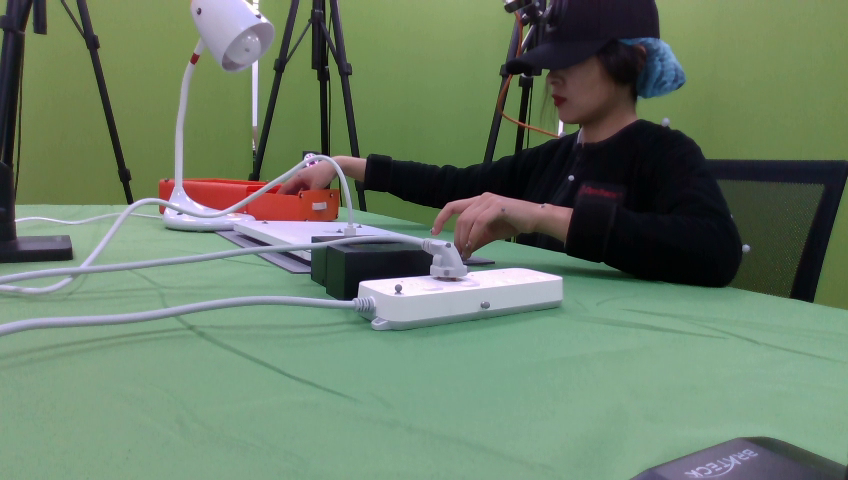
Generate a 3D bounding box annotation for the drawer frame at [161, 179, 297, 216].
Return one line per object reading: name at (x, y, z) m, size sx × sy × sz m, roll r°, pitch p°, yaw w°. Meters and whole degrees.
drawer frame at (-0.421, -0.089, 1.329) m, size 0.213 × 0.082 × 0.202 m, roll 4°, pitch 8°, yaw 16°

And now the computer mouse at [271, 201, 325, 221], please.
computer mouse at (-0.271, -0.063, 1.307) m, size 0.062 × 0.041 × 0.118 m, roll 5°, pitch 4°, yaw 30°

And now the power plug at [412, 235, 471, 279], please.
power plug at (0.017, 0.023, 0.588) m, size 0.035 × 0.052 × 0.072 m, roll -1°, pitch 7°, yaw -24°

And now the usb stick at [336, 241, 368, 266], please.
usb stick at (-0.093, 0.016, 0.748) m, size 0.021 × 0.027 × 0.059 m, roll -4°, pitch 5°, yaw -36°

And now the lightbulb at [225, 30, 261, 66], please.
lightbulb at (-0.317, -0.335, 1.001) m, size 0.107 × 0.059 × 0.059 m, roll 47°, pitch 16°, yaw 6°

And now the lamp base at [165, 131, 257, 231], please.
lamp base at (-0.407, -0.112, 1.119) m, size 0.179 × 0.180 × 0.161 m, roll -1°, pitch 7°, yaw 7°

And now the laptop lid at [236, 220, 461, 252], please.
laptop lid at (-0.133, -0.010, 0.949) m, size 0.243 × 0.013 × 0.355 m, roll 0°, pitch 7°, yaw -32°

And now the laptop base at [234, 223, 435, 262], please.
laptop base at (-0.135, 0.002, 0.949) m, size 0.237 × 0.023 × 0.352 m, roll 2°, pitch 6°, yaw -33°

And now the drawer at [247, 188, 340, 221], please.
drawer at (-0.314, -0.079, 1.301) m, size 0.211 × 0.073 × 0.195 m, roll 4°, pitch 8°, yaw 15°

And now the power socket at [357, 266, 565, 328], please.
power socket at (0.041, 0.049, 0.572) m, size 0.228 × 0.032 × 0.072 m, roll -3°, pitch 8°, yaw -35°

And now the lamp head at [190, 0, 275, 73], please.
lamp head at (-0.331, -0.355, 1.008) m, size 0.123 × 0.112 × 0.112 m, roll 43°, pitch 15°, yaw 6°
